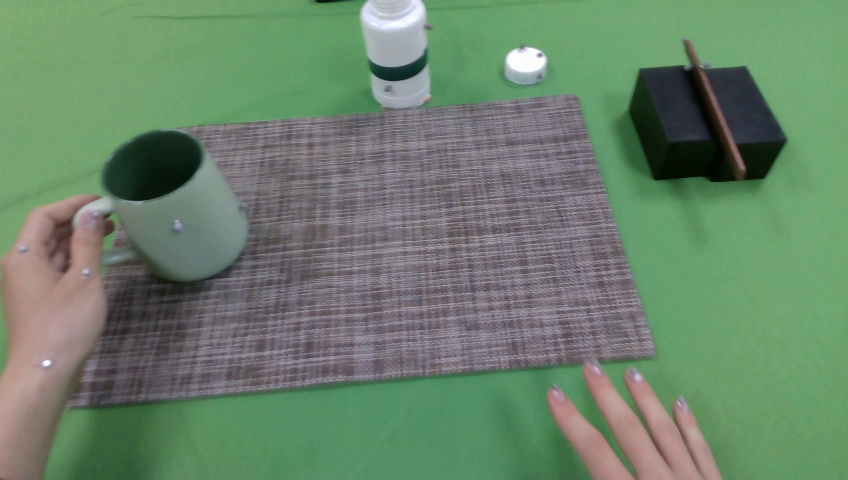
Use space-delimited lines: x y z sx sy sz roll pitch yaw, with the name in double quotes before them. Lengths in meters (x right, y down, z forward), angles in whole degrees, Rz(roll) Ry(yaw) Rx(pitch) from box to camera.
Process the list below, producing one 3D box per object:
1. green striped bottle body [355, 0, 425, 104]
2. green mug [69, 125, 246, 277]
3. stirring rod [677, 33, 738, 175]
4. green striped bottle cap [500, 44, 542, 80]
"green striped bottle body" -0.033 -0.201 0.607 0.063 0.120 0.062 -2 54 3
"green mug" -0.218 -0.022 0.494 0.125 0.106 0.091 -27 57 -15
"stirring rod" 0.250 -0.126 0.538 0.006 0.014 0.174 -5 54 6
"green striped bottle cap" 0.105 -0.193 0.656 0.044 0.020 0.044 -1 50 1
